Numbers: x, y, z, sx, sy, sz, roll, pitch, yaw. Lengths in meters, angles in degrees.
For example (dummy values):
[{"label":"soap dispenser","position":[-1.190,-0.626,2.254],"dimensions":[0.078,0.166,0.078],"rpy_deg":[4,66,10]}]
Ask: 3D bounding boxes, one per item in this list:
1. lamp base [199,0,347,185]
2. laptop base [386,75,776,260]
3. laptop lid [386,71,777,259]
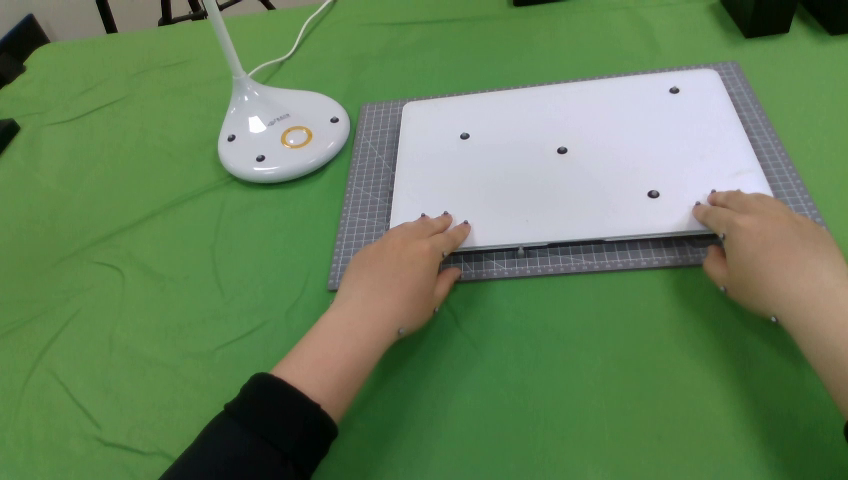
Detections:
[{"label":"lamp base","position":[-0.193,-0.179,0.683],"dimensions":[0.177,0.182,0.160],"rpy_deg":[28,58,35]},{"label":"laptop base","position":[0.142,-0.078,0.630],"dimensions":[0.354,0.023,0.233],"rpy_deg":[-5,51,8]},{"label":"laptop lid","position":[0.140,-0.085,0.619],"dimensions":[0.356,0.013,0.239],"rpy_deg":[-3,50,9]}]
